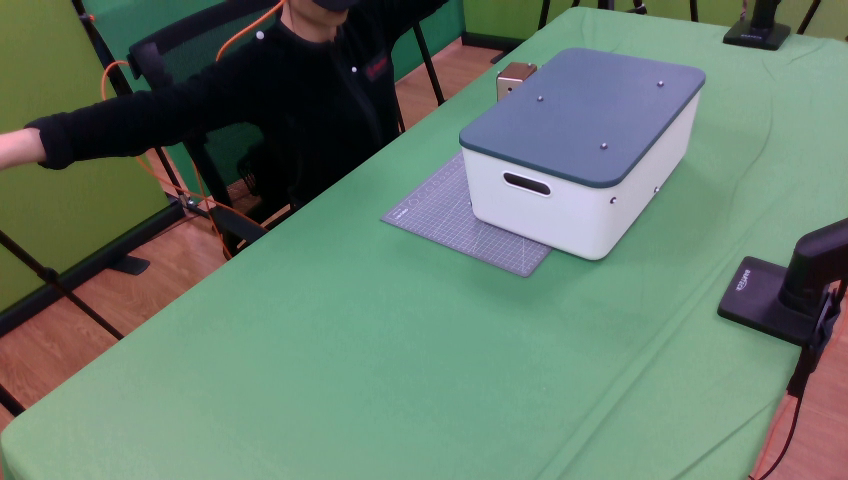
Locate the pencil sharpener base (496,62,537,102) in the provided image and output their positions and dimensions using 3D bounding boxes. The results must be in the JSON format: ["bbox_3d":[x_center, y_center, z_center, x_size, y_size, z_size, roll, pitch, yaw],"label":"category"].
[{"bbox_3d":[0.190,-0.296,1.225,0.061,0.107,0.077,14,45,27],"label":"pencil sharpener base"}]

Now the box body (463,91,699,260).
[{"bbox_3d":[0.264,-0.153,1.000,0.252,0.161,0.365,22,49,32],"label":"box body"}]

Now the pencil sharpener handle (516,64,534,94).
[{"bbox_3d":[0.214,-0.337,1.249,0.036,0.068,0.031,12,44,28],"label":"pencil sharpener handle"}]

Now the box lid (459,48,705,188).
[{"bbox_3d":[0.256,-0.210,0.953,0.261,0.015,0.372,23,49,31],"label":"box lid"}]
